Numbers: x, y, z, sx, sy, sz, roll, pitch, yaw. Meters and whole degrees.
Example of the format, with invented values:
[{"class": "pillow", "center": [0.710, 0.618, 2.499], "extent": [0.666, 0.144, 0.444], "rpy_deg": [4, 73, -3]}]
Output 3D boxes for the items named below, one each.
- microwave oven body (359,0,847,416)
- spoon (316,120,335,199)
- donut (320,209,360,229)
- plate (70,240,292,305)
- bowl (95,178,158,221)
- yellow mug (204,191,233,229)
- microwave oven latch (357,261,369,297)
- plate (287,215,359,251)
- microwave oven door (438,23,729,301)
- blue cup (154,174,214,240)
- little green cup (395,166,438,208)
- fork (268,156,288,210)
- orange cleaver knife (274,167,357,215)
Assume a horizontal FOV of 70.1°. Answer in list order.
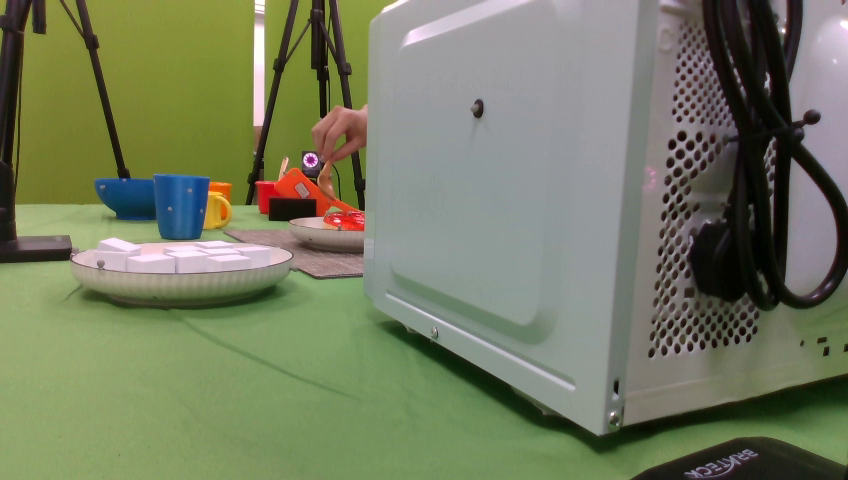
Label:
[{"class": "microwave oven body", "center": [0.211, -0.047, 0.474], "extent": [0.444, 0.260, 0.324], "rpy_deg": [-1, 7, -28]}, {"class": "spoon", "center": [-0.164, -0.138, 1.004], "extent": [0.021, 0.193, 0.042], "rpy_deg": [-27, -43, 22]}, {"class": "donut", "center": [-0.115, -0.023, 0.961], "extent": [0.099, 0.048, 0.099], "rpy_deg": [5, 8, 0]}, {"class": "plate", "center": [-0.242, 0.031, 0.618], "extent": [0.208, 0.039, 0.207], "rpy_deg": [2, 8, 0]}, {"class": "bowl", "center": [-0.576, -0.081, 1.217], "extent": [0.151, 0.077, 0.151], "rpy_deg": [3, 8, 0]}, {"class": "yellow mug", "center": [-0.415, -0.057, 1.132], "extent": [0.130, 0.064, 0.100], "rpy_deg": [6, 8, 16]}, {"class": "microwave oven latch", "center": [-0.019, 0.033, 0.531], "extent": [0.079, 0.029, 0.030], "rpy_deg": [-1, 7, -27]}, {"class": "plate", "center": [-0.112, -0.012, 0.960], "extent": [0.209, 0.038, 0.209], "rpy_deg": [3, 7, 0]}, {"class": "microwave oven door", "center": [0.181, -0.072, 0.620], "extent": [0.358, 0.243, 0.039], "rpy_deg": [-2, 8, -29]}, {"class": "blue cup", "center": [-0.390, -0.053, 0.978], "extent": [0.093, 0.100, 0.092], "rpy_deg": [3, 6, 0]}, {"class": "little green cup", "center": [-0.009, -0.080, 0.929], "extent": [0.061, 0.038, 0.061], "rpy_deg": [-36, -11, -8]}, {"class": "fork", "center": [-0.360, -0.144, 1.508], "extent": [0.028, 0.018, 0.207], "rpy_deg": [2, 49, 0]}, {"class": "orange cleaver knife", "center": [-0.238, -0.091, 1.381], "extent": [0.212, 0.077, 0.012], "rpy_deg": [31, 0, -19]}]
